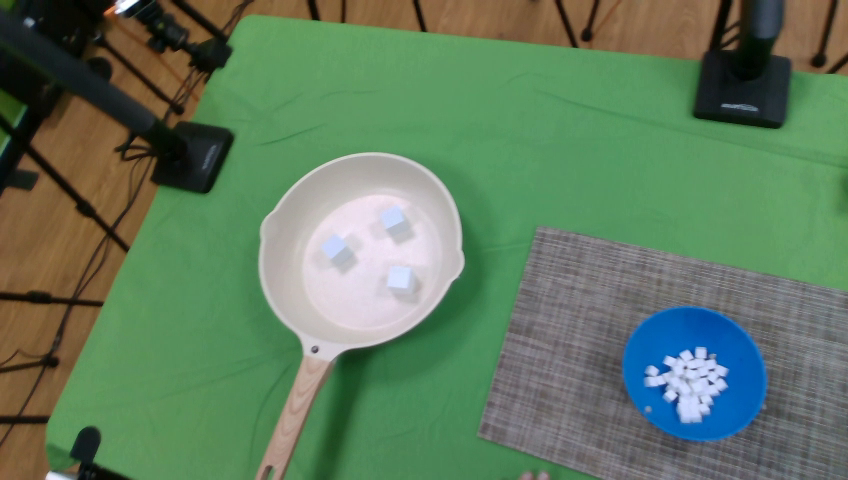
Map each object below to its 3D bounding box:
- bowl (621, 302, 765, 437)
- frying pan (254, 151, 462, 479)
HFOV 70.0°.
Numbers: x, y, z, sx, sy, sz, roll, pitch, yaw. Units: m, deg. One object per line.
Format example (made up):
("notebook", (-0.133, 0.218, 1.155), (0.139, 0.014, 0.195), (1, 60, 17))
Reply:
("bowl", (0.305, 0.155, 0.707), (0.151, 0.077, 0.150), (-5, 67, 11))
("frying pan", (-0.121, 0.103, 0.817), (0.305, 0.104, 0.485), (12, 63, 18))
